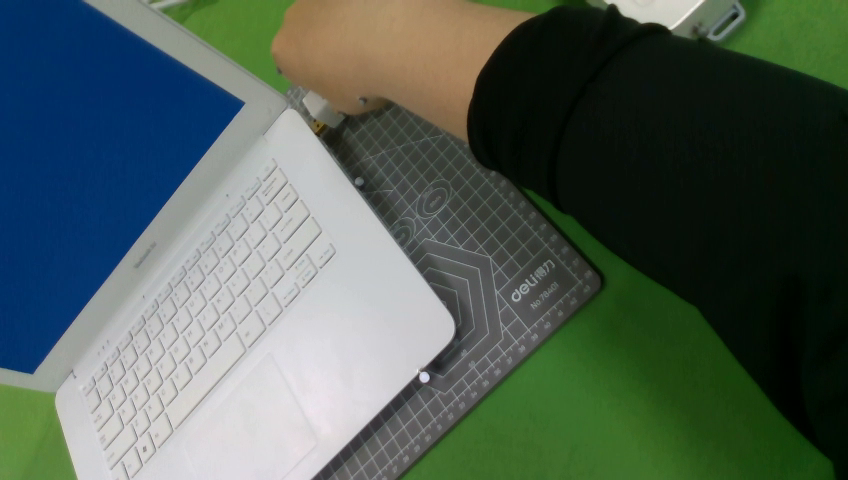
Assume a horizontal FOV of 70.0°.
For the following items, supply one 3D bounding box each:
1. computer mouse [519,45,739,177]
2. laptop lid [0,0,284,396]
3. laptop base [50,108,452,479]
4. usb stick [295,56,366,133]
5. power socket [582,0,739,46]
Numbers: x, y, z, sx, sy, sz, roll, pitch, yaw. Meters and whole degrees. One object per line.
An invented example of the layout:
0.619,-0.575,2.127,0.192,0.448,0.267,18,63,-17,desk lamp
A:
0.103,-0.069,0.325,0.116,0.041,0.062,9,86,38,computer mouse
-0.294,-0.023,0.433,0.357,0.244,0.013,-48,46,15,laptop lid
-0.156,0.098,0.459,0.354,0.023,0.233,-47,62,14,laptop base
-0.072,-0.101,0.438,0.059,0.027,0.021,-44,63,19,usb stick
0.095,-0.195,0.363,0.072,0.033,0.224,-45,59,16,power socket
